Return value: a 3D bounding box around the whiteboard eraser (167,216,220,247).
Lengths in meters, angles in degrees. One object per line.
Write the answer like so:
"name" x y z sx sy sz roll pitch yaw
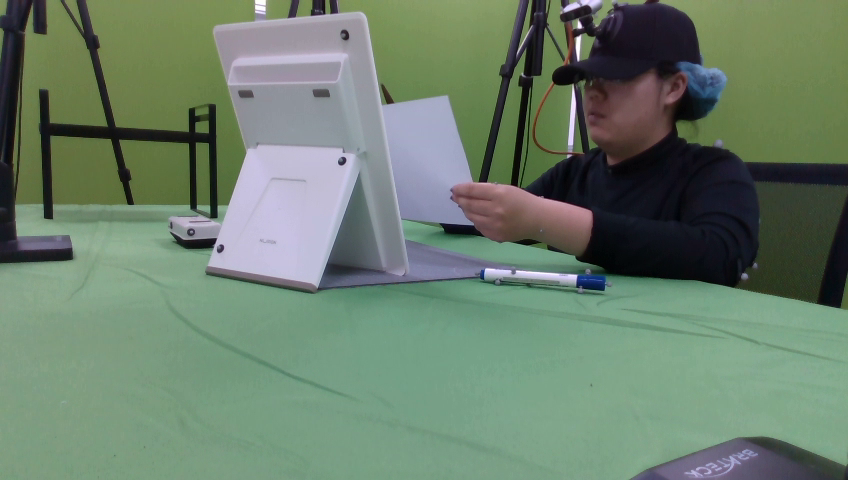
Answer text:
"whiteboard eraser" -0.350 -0.013 0.920 0.056 0.042 0.112 0 7 -35

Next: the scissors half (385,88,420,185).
"scissors half" -0.042 -0.168 1.002 0.040 0.175 0.013 -31 34 -25

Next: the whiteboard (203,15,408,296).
"whiteboard" -0.166 -0.072 0.668 0.216 0.305 0.144 8 30 30

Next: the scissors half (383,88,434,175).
"scissors half" -0.026 -0.179 1.008 0.040 0.176 0.012 -42 38 -11

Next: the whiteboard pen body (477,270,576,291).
"whiteboard pen body" 0.131 0.048 0.706 0.140 0.017 0.017 4 7 18

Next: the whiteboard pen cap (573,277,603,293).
"whiteboard pen cap" 0.186 0.051 0.687 0.033 0.018 0.018 4 8 17
